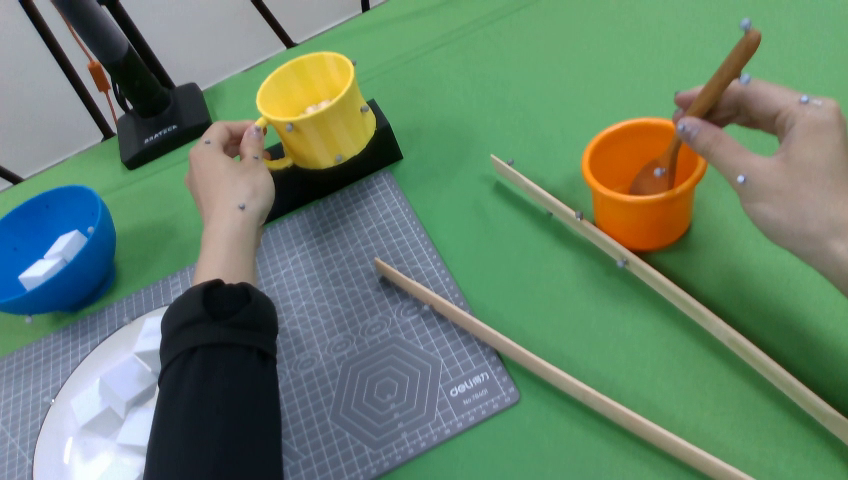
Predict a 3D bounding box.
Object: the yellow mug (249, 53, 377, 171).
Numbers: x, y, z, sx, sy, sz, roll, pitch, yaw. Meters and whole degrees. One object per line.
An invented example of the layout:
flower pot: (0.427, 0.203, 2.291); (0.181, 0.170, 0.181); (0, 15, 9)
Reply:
yellow mug: (-0.115, -0.117, 0.593); (0.131, 0.064, 0.099); (-42, 52, -15)

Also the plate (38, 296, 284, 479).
plate: (-0.208, 0.142, 0.497); (0.207, 0.039, 0.205); (-10, 50, 12)

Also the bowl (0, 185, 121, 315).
bowl: (-0.374, 0.023, 0.628); (0.151, 0.077, 0.150); (-10, 50, 12)

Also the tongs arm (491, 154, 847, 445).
tongs arm: (0.162, 0.041, 0.458); (0.051, 0.027, 0.380); (-38, 52, -13)

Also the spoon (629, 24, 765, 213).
spoon: (0.179, -0.073, 0.415); (0.021, 0.195, 0.041); (-9, 67, -2)

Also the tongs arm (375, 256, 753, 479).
tongs arm: (0.104, 0.094, 0.438); (0.384, 0.028, 0.028); (27, 61, 33)
